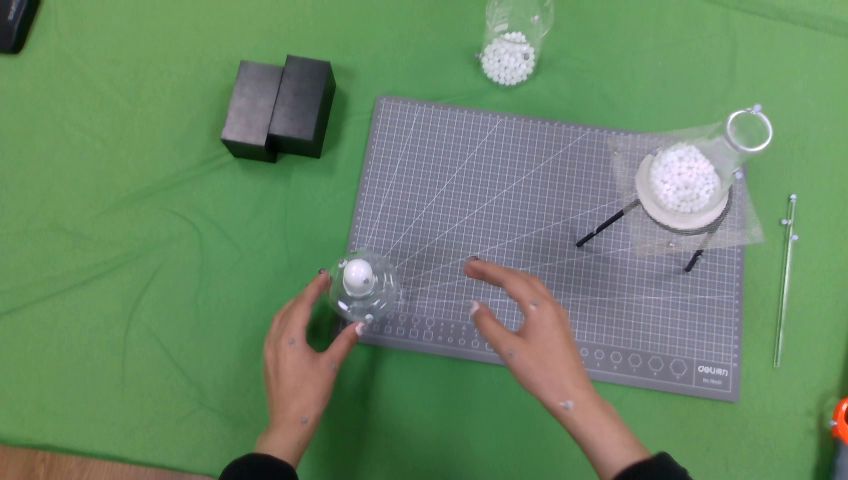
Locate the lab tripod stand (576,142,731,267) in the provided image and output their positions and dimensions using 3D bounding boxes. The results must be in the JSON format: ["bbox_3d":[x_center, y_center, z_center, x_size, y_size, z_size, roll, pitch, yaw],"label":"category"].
[{"bbox_3d":[0.244,-0.033,0.638,0.148,0.132,0.147,0,77,1],"label":"lab tripod stand"}]

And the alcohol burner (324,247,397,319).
[{"bbox_3d":[-0.067,0.042,0.626,0.078,0.119,0.077,0,77,-1],"label":"alcohol burner"}]

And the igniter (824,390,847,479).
[{"bbox_3d":[0.467,0.166,0.647,0.057,0.025,0.275,23,76,-5],"label":"igniter"}]

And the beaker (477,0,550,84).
[{"bbox_3d":[0.103,-0.237,0.709,0.084,0.100,0.073,-31,78,-8],"label":"beaker"}]

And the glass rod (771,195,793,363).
[{"bbox_3d":[0.407,0.041,0.688,0.008,0.008,0.199,14,76,3],"label":"glass rod"}]

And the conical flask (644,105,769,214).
[{"bbox_3d":[0.244,-0.072,0.519,0.075,0.122,0.075,0,77,0],"label":"conical flask"}]

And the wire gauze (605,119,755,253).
[{"bbox_3d":[0.244,-0.051,0.575,0.125,0.011,0.121,-7,79,-4],"label":"wire gauze"}]

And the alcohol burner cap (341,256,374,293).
[{"bbox_3d":[-0.066,0.032,0.591,0.034,0.048,0.033,2,74,-5],"label":"alcohol burner cap"}]
